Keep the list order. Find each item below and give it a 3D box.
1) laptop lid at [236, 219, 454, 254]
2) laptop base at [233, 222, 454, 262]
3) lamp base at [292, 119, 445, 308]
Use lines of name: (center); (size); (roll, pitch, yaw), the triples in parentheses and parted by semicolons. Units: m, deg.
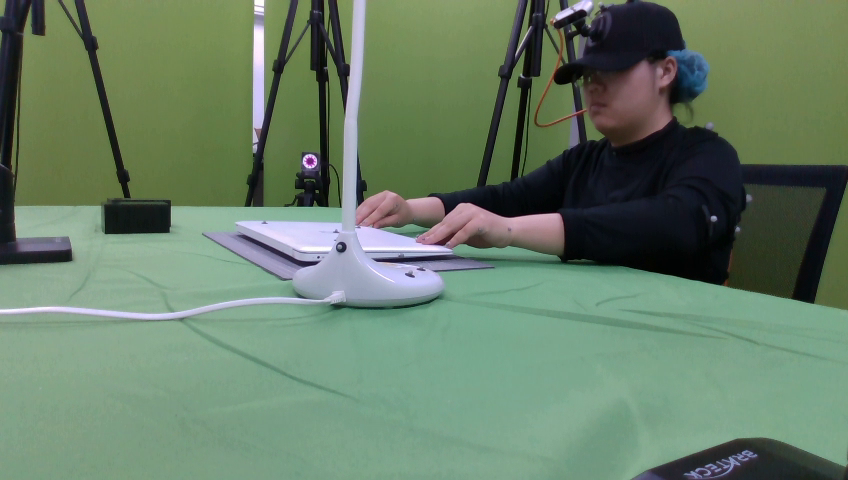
laptop lid: (-0.140, -0.008, 0.956); (0.243, 0.013, 0.355); (1, 7, -30)
laptop base: (-0.143, 0.004, 0.957); (0.237, 0.023, 0.352); (3, 6, -32)
lamp base: (-0.056, -0.030, 0.616); (0.160, 0.180, 0.179); (3, 10, 8)
